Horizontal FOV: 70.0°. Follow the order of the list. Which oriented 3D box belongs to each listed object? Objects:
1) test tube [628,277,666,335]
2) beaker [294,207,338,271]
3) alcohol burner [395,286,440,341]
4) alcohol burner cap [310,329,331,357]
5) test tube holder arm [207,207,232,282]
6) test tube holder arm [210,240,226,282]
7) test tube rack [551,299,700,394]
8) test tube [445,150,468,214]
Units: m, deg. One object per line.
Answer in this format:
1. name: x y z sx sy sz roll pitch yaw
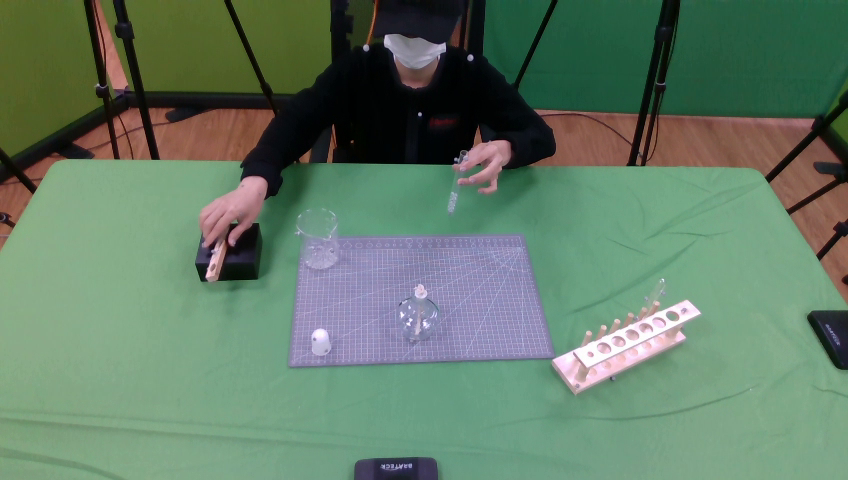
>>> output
1. test tube: 0.371 0.112 1.014 0.017 0.151 0.017 3 47 -3
2. beaker: -0.196 0.003 1.123 0.074 0.101 0.083 -23 53 -24
3. alcohol burner: -0.010 0.116 1.018 0.078 0.119 0.077 3 47 -3
4. alcohol burner cap: -0.173 0.168 1.005 0.034 0.048 0.033 2 46 -2
5. test tube holder arm: -0.371 0.004 1.100 0.013 0.015 0.177 -5 47 -1
6. test tube holder arm: -0.362 0.036 1.070 0.010 0.015 0.087 -4 47 0
7. test tube rack: 0.339 0.166 1.021 0.242 0.085 0.066 -19 50 -21
8. test tube: 0.058 -0.102 1.098 0.017 0.151 0.017 5 49 -6
